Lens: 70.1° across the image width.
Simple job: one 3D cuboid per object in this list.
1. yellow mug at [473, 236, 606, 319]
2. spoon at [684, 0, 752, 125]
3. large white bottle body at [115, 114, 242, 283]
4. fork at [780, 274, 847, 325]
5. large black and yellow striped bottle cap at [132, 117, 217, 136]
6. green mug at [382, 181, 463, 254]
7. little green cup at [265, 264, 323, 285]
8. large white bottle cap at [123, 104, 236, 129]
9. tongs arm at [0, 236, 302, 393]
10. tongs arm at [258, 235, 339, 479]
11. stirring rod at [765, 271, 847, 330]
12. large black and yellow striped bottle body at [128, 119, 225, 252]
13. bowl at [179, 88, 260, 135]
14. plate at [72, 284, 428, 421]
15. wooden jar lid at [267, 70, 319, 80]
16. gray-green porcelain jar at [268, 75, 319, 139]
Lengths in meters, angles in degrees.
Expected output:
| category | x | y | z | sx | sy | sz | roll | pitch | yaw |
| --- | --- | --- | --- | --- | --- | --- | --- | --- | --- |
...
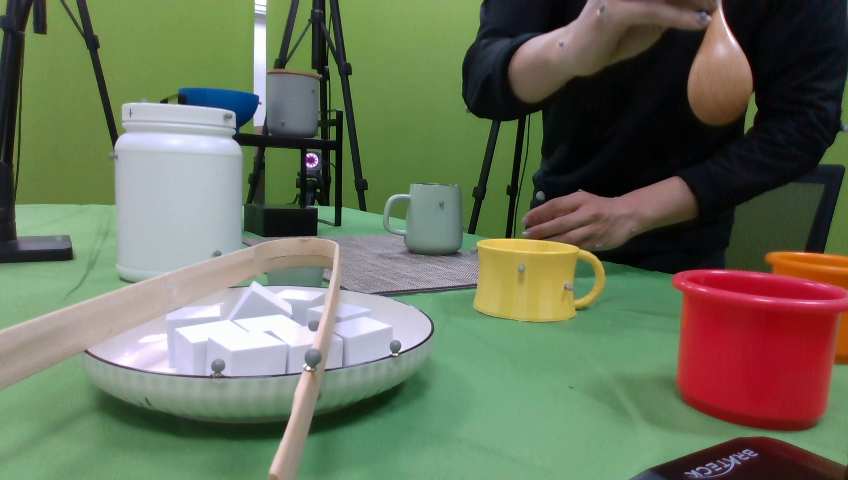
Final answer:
| category | x | y | z | sx | sy | sz | roll | pitch | yaw |
| --- | --- | --- | --- | --- | --- | --- | --- | --- | --- |
| yellow mug | 0.114 | 0.034 | 0.590 | 0.131 | 0.064 | 0.100 | 2 | 6 | -7 |
| spoon | 0.203 | -0.175 | 0.426 | 0.041 | 0.193 | 0.022 | -2 | -13 | 23 |
| large white bottle body | -0.270 | -0.051 | 0.673 | 0.131 | 0.184 | 0.130 | 2 | 8 | 0 |
| fork | 0.331 | 0.018 | 0.443 | 0.028 | 0.018 | 0.207 | -2 | -35 | -16 |
| large black and yellow striped bottle cap | -0.359 | -0.164 | 0.875 | 0.115 | 0.019 | 0.115 | 2 | 6 | 0 |
| green mug | -0.001 | -0.036 | 0.922 | 0.126 | 0.105 | 0.092 | 0 | 8 | -16 |
| little green cup | -0.134 | 0.034 | 0.628 | 0.061 | 0.038 | 0.061 | 3 | 7 | 0 |
| large white bottle cap | -0.266 | -0.135 | 0.663 | 0.115 | 0.018 | 0.115 | 3 | 7 | 0 |
| tongs arm | -0.157 | 0.038 | 0.347 | 0.028 | 0.028 | 0.388 | -3 | 8 | 11 |
| tongs arm | -0.074 | 0.040 | 0.345 | 0.051 | 0.026 | 0.384 | -2 | 10 | -3 |
| stirring rod | 0.352 | 0.020 | 0.481 | 0.176 | 0.006 | 0.014 | -40 | -7 | 17 |
| large black and yellow striped bottle body | -0.361 | -0.081 | 0.887 | 0.131 | 0.184 | 0.130 | 2 | 8 | 0 |
| bowl | -0.400 | -0.248 | 1.188 | 0.151 | 0.077 | 0.151 | 3 | 6 | 0 |
| plate | -0.102 | 0.066 | 0.381 | 0.208 | 0.039 | 0.207 | 2 | 7 | 0 |
| wooden jar lid | -0.275 | -0.339 | 1.271 | 0.108 | 0.020 | 0.108 | 5 | 6 | 0 |
| gray-green porcelain jar | -0.277 | -0.278 | 1.280 | 0.106 | 0.126 | 0.106 | 2 | 8 | 0 |
